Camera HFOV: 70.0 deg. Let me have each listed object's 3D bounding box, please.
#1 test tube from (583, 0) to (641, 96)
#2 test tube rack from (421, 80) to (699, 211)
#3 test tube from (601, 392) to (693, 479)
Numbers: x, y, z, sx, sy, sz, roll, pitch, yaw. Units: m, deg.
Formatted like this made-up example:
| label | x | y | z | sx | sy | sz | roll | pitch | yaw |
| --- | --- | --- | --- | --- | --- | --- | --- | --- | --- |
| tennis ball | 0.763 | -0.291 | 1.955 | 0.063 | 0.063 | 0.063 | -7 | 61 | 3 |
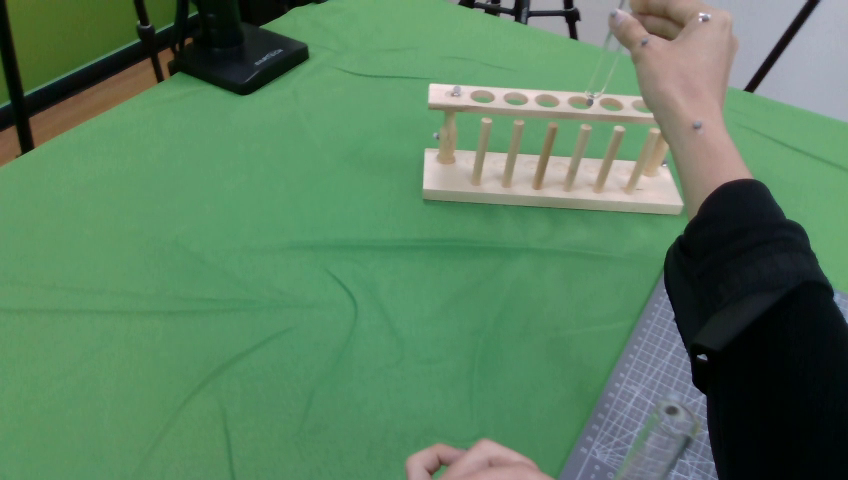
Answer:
| label | x | y | z | sx | sy | sz | roll | pitch | yaw |
| --- | --- | --- | --- | --- | --- | --- | --- | --- | --- |
| test tube | 0.153 | -0.172 | 0.465 | 0.017 | 0.151 | 0.017 | 5 | 51 | -6 |
| test tube rack | 0.121 | -0.087 | 0.563 | 0.242 | 0.086 | 0.066 | 3 | 44 | -2 |
| test tube | 0.076 | 0.113 | 0.252 | 0.017 | 0.151 | 0.017 | 5 | 40 | -4 |
